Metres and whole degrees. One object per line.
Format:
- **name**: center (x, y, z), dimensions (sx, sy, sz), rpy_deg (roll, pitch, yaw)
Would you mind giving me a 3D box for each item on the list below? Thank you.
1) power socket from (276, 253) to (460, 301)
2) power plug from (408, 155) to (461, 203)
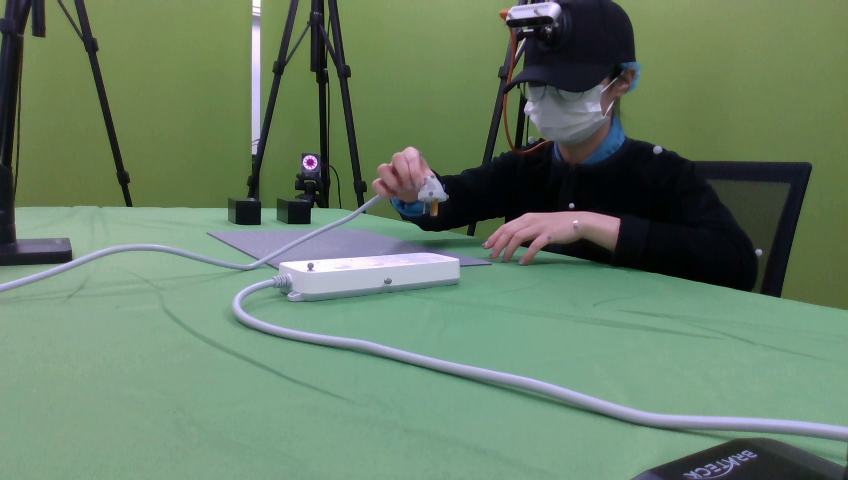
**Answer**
- **power socket**: center (-0.056, 0.037, 0.674), dimensions (0.228, 0.032, 0.072), rpy_deg (-3, 8, -38)
- **power plug**: center (0.011, -0.079, 0.754), dimensions (0.053, 0.072, 0.035), rpy_deg (24, -28, -18)
